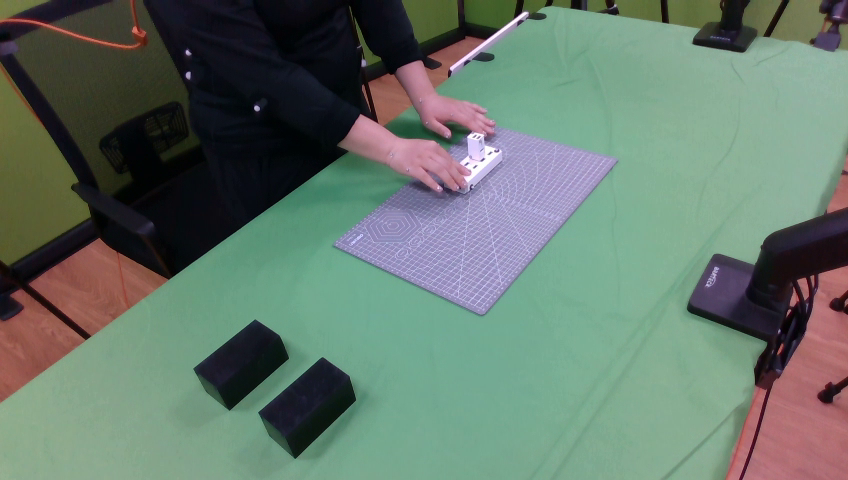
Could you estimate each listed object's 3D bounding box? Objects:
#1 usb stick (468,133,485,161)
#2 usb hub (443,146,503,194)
[{"bbox_3d":[0.095,-0.162,1.096,0.027,0.059,0.021,21,48,27],"label":"usb stick"},{"bbox_3d":[0.091,-0.129,1.102,0.049,0.025,0.125,23,49,31],"label":"usb hub"}]
